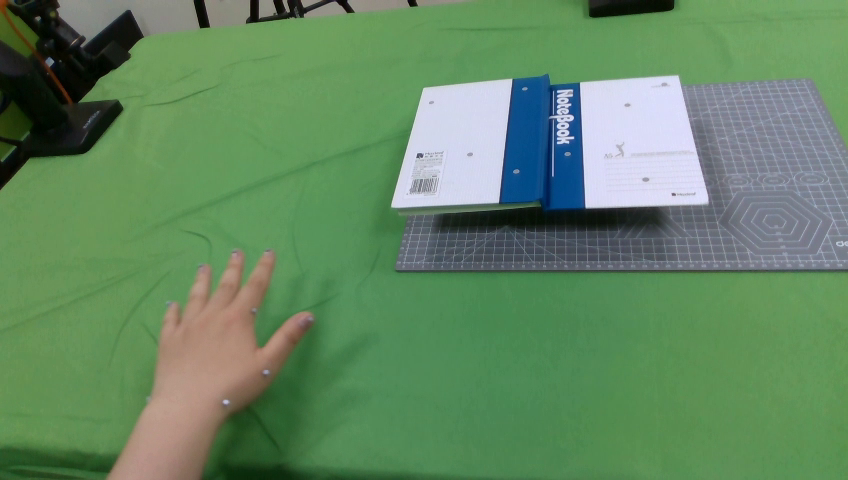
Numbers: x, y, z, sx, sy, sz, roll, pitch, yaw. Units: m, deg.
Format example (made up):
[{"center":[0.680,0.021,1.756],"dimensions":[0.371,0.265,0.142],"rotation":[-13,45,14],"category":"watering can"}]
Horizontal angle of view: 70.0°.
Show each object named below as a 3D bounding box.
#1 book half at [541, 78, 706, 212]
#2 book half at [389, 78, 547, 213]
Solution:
[{"center":[0.193,-0.102,0.614],"dimensions":[0.143,0.007,0.208],"rotation":[-1,46,13],"category":"book half"},{"center":[0.053,-0.103,0.641],"dimensions":[0.148,0.016,0.208],"rotation":[-2,46,14],"category":"book half"}]
